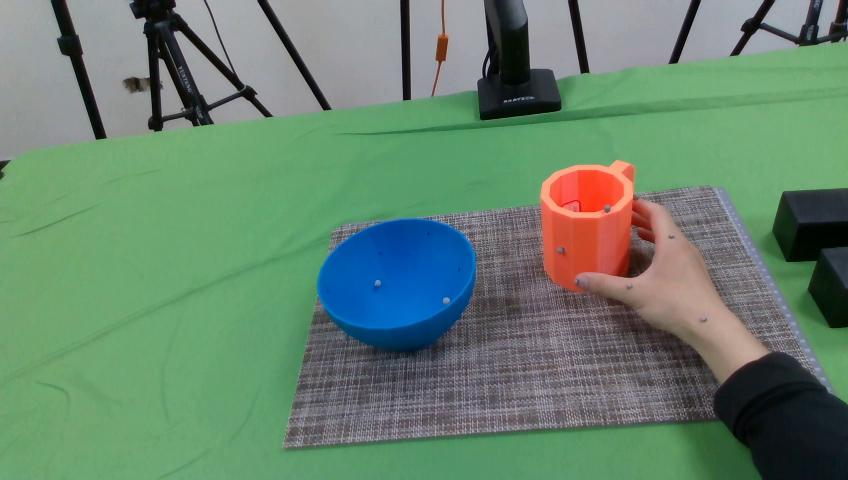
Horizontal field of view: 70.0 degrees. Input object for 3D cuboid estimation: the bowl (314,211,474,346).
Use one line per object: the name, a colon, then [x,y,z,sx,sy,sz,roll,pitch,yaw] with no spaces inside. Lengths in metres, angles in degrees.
bowl: [-0.022,0.049,0.584,0.151,0.077,0.150,-7,40,6]

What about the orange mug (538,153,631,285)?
orange mug: [0.170,-0.029,0.611,0.082,0.102,0.126,26,57,36]
